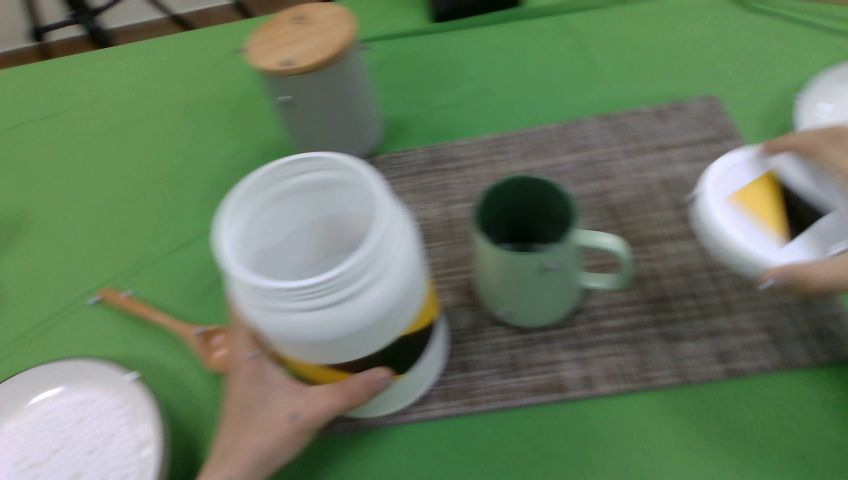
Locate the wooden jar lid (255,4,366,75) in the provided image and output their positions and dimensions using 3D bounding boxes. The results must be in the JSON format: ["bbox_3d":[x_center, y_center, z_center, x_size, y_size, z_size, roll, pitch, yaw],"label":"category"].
[{"bbox_3d":[-0.106,-0.187,0.578,0.108,0.021,0.107,-7,51,9],"label":"wooden jar lid"}]

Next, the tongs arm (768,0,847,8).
[{"bbox_3d":[0.498,-0.253,0.628,0.384,0.028,0.028,21,54,34],"label":"tongs arm"}]

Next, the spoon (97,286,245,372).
[{"bbox_3d":[-0.236,0.073,0.554,0.192,0.022,0.041,19,75,22],"label":"spoon"}]

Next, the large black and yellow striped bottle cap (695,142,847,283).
[{"bbox_3d":[0.253,-0.023,0.428,0.115,0.019,0.114,-2,55,3],"label":"large black and yellow striped bottle cap"}]

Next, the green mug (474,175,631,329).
[{"bbox_3d":[0.100,0.014,0.483,0.125,0.106,0.092,8,55,16],"label":"green mug"}]

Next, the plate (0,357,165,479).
[{"bbox_3d":[-0.297,0.191,0.467,0.209,0.038,0.207,-5,53,6],"label":"plate"}]

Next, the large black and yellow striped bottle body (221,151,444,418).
[{"bbox_3d":[-0.059,0.037,0.442,0.130,0.186,0.129,-5,53,7],"label":"large black and yellow striped bottle body"}]

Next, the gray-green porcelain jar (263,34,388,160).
[{"bbox_3d":[-0.097,-0.146,0.625,0.106,0.128,0.105,-5,49,6],"label":"gray-green porcelain jar"}]

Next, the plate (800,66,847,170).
[{"bbox_3d":[0.448,-0.085,0.541,0.207,0.039,0.205,-5,53,7],"label":"plate"}]
